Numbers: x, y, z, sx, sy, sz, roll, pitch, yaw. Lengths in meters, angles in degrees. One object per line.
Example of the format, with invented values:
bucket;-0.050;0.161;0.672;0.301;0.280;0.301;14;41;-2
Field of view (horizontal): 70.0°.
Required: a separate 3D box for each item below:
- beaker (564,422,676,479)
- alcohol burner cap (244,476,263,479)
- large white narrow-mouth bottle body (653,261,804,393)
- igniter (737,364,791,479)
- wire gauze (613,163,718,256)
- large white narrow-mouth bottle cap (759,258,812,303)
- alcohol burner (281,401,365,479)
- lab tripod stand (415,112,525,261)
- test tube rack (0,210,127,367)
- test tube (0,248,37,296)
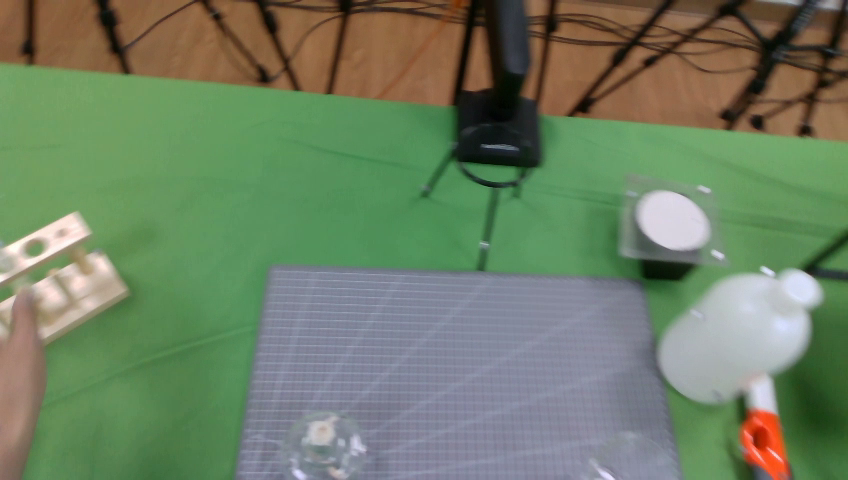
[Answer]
beaker;0.176;0.222;0.569;0.084;0.101;0.073;-1;59;-6
alcohol burner cap;-0.155;0.234;0.554;0.034;0.048;0.033;2;59;-3
large white narrow-mouth bottle body;0.316;0.081;0.618;0.102;0.196;0.101;3;59;-4
igniter;0.363;0.187;0.659;0.057;0.025;0.274;16;58;-12
wire gauze;0.289;-0.037;0.736;0.121;0.011;0.124;9;58;-2
large white narrow-mouth bottle cap;0.324;0.036;0.545;0.038;0.024;0.037;3;59;-5
alcohol burner;-0.092;0.181;0.552;0.078;0.120;0.077;4;58;-7
lab tripod stand;0.062;-0.069;0.711;0.149;0.132;0.147;4;60;-6
test tube rack;-0.433;0.076;0.590;0.242;0.086;0.066;-36;69;-24
test tube;-0.402;0.017;0.571;0.017;0.151;0.017;4;58;-6
